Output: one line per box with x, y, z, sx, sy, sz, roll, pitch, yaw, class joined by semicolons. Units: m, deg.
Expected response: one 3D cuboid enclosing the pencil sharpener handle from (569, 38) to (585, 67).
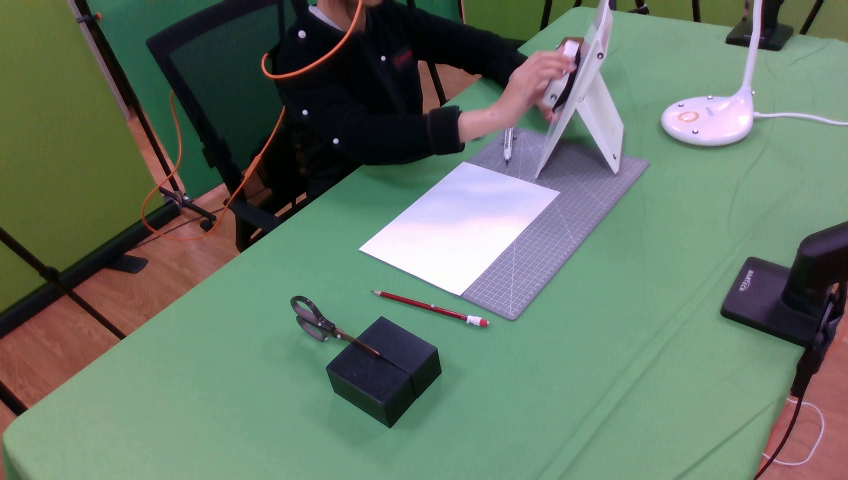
0.333;-0.413;1.318;0.036;0.068;0.030;19;47;13;pencil sharpener handle

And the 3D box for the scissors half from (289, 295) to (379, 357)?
-0.122;0.114;0.803;0.174;0.040;0.013;26;50;32;scissors half

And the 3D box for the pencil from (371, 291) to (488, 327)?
0.003;0.097;0.877;0.193;0.012;0.012;13;45;26;pencil

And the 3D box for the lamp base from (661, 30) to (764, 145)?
0.535;-0.287;1.096;0.179;0.181;0.159;-10;40;-4;lamp base

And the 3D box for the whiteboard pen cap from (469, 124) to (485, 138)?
0.107;-0.220;1.224;0.033;0.018;0.018;-36;47;-24;whiteboard pen cap

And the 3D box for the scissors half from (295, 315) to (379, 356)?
-0.118;0.131;0.813;0.173;0.040;0.013;9;34;45;scissors half

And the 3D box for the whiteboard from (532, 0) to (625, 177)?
0.320;-0.258;1.050;0.144;0.306;0.217;21;45;4;whiteboard

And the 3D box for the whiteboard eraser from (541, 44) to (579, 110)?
0.234;-0.275;1.025;0.042;0.055;0.112;21;58;0;whiteboard eraser

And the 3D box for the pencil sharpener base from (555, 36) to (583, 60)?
0.318;-0.371;1.290;0.061;0.107;0.076;10;44;22;pencil sharpener base

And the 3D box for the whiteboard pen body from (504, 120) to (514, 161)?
0.165;-0.193;1.176;0.017;0.017;0.140;0;41;11;whiteboard pen body
